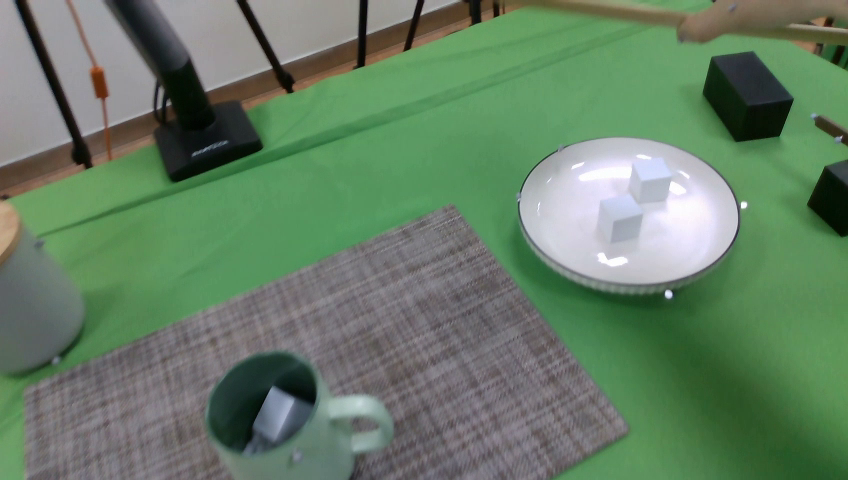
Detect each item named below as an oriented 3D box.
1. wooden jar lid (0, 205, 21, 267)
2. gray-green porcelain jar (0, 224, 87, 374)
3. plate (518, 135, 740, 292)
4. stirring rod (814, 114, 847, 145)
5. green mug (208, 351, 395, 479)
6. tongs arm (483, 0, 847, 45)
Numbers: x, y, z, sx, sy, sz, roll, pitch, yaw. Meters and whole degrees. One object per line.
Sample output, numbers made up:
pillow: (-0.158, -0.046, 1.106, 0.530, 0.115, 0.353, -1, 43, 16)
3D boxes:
wooden jar lid: (-0.396, 0.013, 0.514, 0.108, 0.021, 0.107, -3, 50, 4)
gray-green porcelain jar: (-0.388, 0.055, 0.559, 0.106, 0.128, 0.105, -4, 47, 5)
plate: (0.199, -0.027, 0.606, 0.207, 0.039, 0.205, -4, 48, 5)
stirring rod: (0.431, -0.068, 0.553, 0.006, 0.014, 0.174, -21, 47, -14)
green mug: (-0.085, 0.141, 0.445, 0.125, 0.106, 0.091, -7, 47, 2)
tongs arm: (0.236, -0.173, 0.475, 0.387, 0.028, 0.028, 5, 89, 2)
